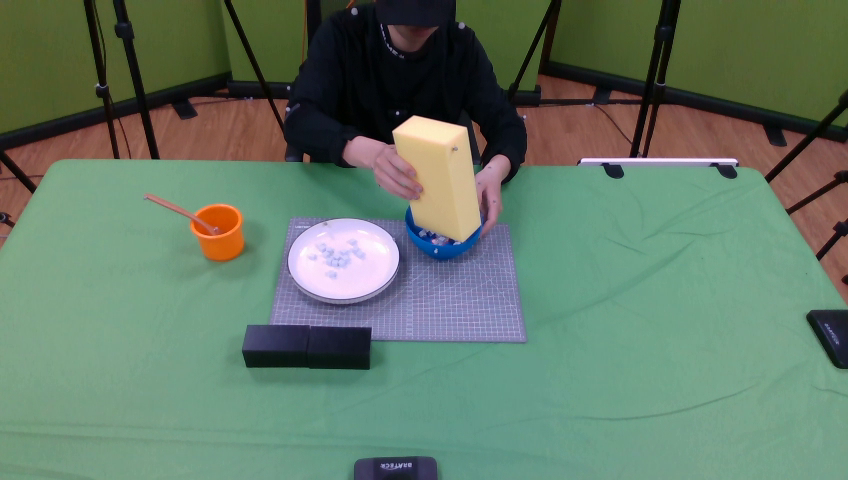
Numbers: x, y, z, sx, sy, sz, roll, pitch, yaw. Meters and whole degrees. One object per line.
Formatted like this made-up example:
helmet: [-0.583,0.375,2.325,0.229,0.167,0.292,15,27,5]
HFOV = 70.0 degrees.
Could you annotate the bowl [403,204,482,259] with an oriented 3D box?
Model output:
bowl: [0.034,-0.015,1.173,0.151,0.077,0.150,2,46,-2]

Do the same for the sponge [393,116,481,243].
sponge: [0.025,-0.105,1.064,0.117,0.208,0.061,22,50,34]

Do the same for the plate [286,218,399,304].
plate: [-0.150,0.041,1.131,0.209,0.038,0.208,2,45,-2]

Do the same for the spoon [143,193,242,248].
spoon: [-0.421,-0.037,1.113,0.021,0.195,0.041,-36,37,23]
